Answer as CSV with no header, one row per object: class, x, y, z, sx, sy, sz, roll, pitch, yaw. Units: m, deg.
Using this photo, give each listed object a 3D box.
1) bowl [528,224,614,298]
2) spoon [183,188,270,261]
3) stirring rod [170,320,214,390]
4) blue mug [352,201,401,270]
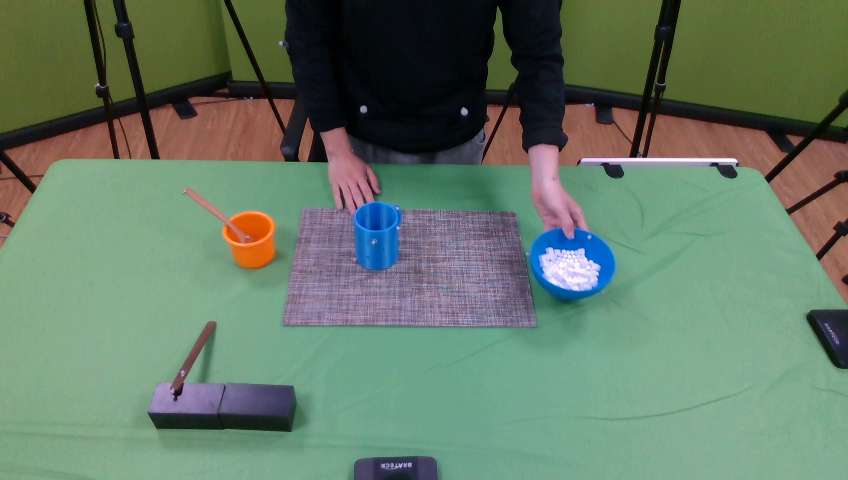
bowl,0.259,0.052,1.097,0.151,0.077,0.150,0,49,0
spoon,-0.360,-0.029,1.110,0.021,0.194,0.041,-21,30,40
stirring rod,-0.368,0.180,0.968,0.014,0.006,0.175,0,27,0
blue mug,-0.082,-0.017,1.144,0.082,0.106,0.116,30,51,22
